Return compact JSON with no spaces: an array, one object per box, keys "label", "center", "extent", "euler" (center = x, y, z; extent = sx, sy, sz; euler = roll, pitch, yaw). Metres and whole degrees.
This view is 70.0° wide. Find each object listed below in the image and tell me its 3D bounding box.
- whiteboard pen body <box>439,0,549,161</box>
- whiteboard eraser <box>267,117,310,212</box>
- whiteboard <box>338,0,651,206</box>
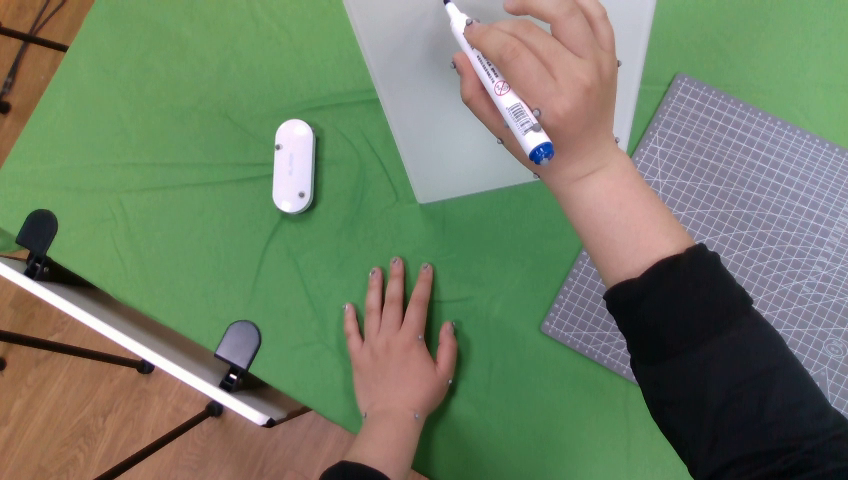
[{"label":"whiteboard pen body","center":[0.038,-0.106,0.374],"extent":[0.017,0.017,0.139],"euler":[-28,66,3]},{"label":"whiteboard eraser","center":[-0.144,-0.081,0.645],"extent":[0.041,0.019,0.101],"euler":[1,84,5]},{"label":"whiteboard","center":[0.060,-0.187,0.524],"extent":[0.217,0.308,0.142],"euler":[-12,62,6]}]
